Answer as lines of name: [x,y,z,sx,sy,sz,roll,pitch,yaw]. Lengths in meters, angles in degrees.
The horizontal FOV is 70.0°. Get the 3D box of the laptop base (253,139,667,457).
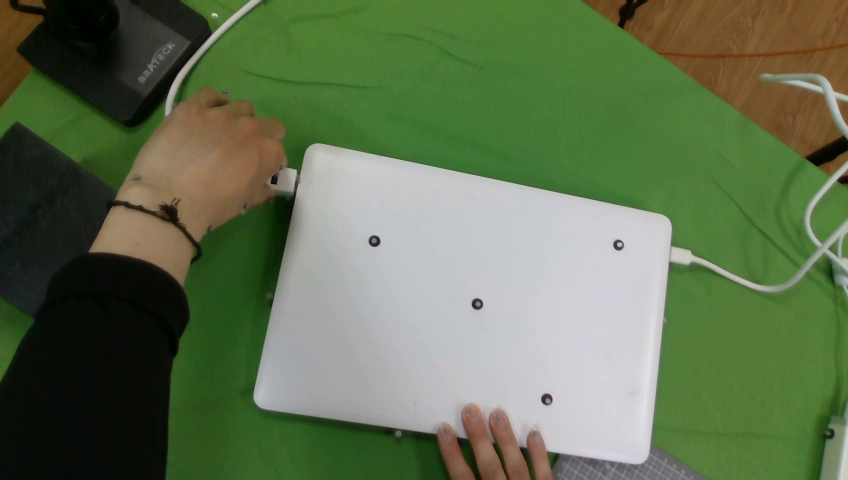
laptop base: [0.045,0.054,0.553,0.355,0.023,0.235,11,82,-7]

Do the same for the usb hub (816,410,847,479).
usb hub: [0.404,0.231,0.580,0.049,0.025,0.124,18,78,-6]

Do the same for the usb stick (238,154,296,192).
usb stick: [-0.129,-0.057,0.526,0.059,0.027,0.021,12,82,-13]

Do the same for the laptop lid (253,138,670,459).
laptop lid: [0.046,0.054,0.540,0.357,0.013,0.241,12,82,-7]
